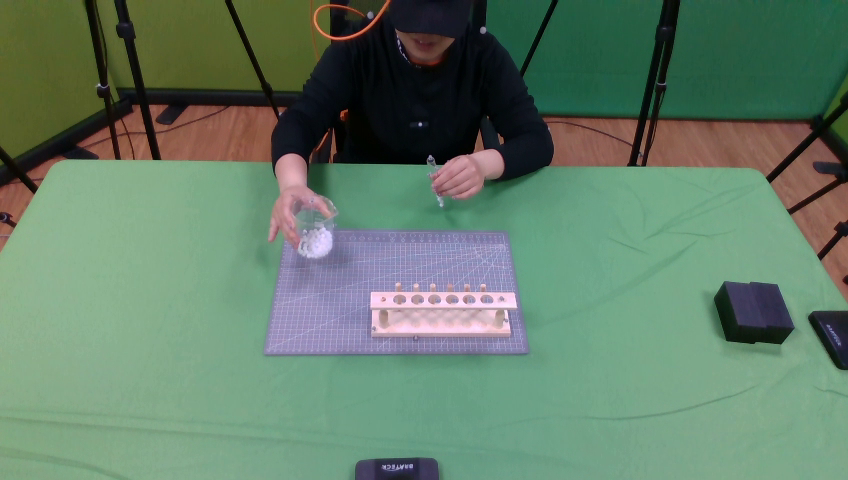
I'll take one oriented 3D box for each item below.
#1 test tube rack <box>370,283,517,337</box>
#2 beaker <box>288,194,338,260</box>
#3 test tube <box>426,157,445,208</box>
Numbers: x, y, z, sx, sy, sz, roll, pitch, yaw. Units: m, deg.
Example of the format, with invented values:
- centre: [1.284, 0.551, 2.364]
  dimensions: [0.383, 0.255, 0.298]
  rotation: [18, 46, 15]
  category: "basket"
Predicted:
- centre: [0.030, 0.116, 1.041]
  dimensions: [0.242, 0.085, 0.066]
  rotation: [1, 46, -4]
  category: "test tube rack"
- centre: [-0.196, -0.020, 1.078]
  dimensions: [0.084, 0.101, 0.073]
  rotation: [3, 47, -7]
  category: "beaker"
- centre: [0.024, -0.111, 1.199]
  dimensions: [0.017, 0.151, 0.017]
  rotation: [-5, 56, 8]
  category: "test tube"
